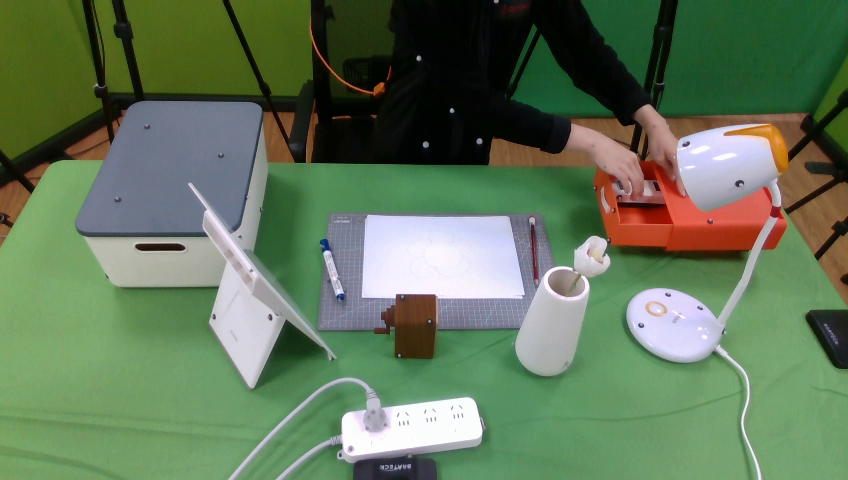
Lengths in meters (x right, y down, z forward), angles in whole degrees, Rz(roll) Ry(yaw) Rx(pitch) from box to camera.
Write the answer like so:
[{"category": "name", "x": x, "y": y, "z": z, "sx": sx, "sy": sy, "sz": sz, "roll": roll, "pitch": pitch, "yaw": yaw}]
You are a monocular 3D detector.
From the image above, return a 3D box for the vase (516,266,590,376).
[{"category": "vase", "x": 0.208, "y": 0.132, "z": 0.964, "sx": 0.098, "sy": 0.201, "sz": 0.097, "roll": 3, "pitch": 46, "yaw": -3}]

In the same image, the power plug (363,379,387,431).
[{"category": "power plug", "x": -0.072, "y": 0.252, "z": 0.910, "sx": 0.035, "sy": 0.053, "sz": 0.072, "roll": 3, "pitch": 45, "yaw": -1}]

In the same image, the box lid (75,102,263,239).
[{"category": "box lid", "x": -0.443, "y": -0.138, "z": 1.094, "sx": 0.263, "sy": 0.015, "sz": 0.369, "roll": -1, "pitch": 47, "yaw": -5}]

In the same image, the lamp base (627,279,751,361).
[{"category": "lamp base", "x": 0.459, "y": 0.100, "z": 1.027, "sx": 0.178, "sy": 0.181, "sz": 0.160, "roll": 27, "pitch": 51, "yaw": 17}]

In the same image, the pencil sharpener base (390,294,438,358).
[{"category": "pencil sharpener base", "x": -0.018, "y": 0.143, "z": 1.000, "sx": 0.077, "sy": 0.107, "sz": 0.061, "roll": 1, "pitch": 46, "yaw": -2}]

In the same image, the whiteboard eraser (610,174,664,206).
[{"category": "whiteboard eraser", "x": 0.435, "y": -0.101, "z": 1.238, "sx": 0.113, "sy": 0.042, "sz": 0.055, "roll": 5, "pitch": 55, "yaw": -9}]

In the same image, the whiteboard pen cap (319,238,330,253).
[{"category": "whiteboard pen cap", "x": -0.191, "y": 0.013, "z": 1.163, "sx": 0.018, "sy": 0.018, "sz": 0.033, "roll": -13, "pitch": 49, "yaw": -16}]

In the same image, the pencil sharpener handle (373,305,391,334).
[{"category": "pencil sharpener handle", "x": -0.069, "y": 0.133, "z": 0.989, "sx": 0.030, "sy": 0.068, "sz": 0.036, "roll": 1, "pitch": 47, "yaw": -2}]

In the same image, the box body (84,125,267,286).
[{"category": "box body", "x": -0.446, "y": -0.088, "z": 1.150, "sx": 0.254, "sy": 0.161, "sz": 0.361, "roll": -1, "pitch": 46, "yaw": -5}]

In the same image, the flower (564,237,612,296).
[{"category": "flower", "x": 0.206, "y": 0.088, "z": 0.893, "sx": 0.038, "sy": 0.363, "sz": 0.044, "roll": -17, "pitch": 67, "yaw": -9}]

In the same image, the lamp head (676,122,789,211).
[{"category": "lamp head", "x": 0.423, "y": -0.104, "z": 0.819, "sx": 0.122, "sy": 0.113, "sz": 0.112, "roll": -13, "pitch": 33, "yaw": 40}]

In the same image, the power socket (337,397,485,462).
[{"category": "power socket", "x": -0.018, "y": 0.285, "z": 0.915, "sx": 0.227, "sy": 0.033, "sz": 0.071, "roll": -5, "pitch": 46, "yaw": -8}]

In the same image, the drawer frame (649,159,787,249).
[{"category": "drawer frame", "x": 0.566, "y": -0.075, "z": 1.209, "sx": 0.213, "sy": 0.083, "sz": 0.200, "roll": 0, "pitch": 45, "yaw": 2}]

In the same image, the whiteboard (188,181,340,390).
[{"category": "whiteboard", "x": -0.292, "y": 0.096, "z": 0.929, "sx": 0.144, "sy": 0.307, "sz": 0.216, "roll": -38, "pitch": 57, "yaw": -10}]

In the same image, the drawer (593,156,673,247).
[{"category": "drawer", "x": 0.460, "y": -0.077, "z": 1.208, "sx": 0.212, "sy": 0.073, "sz": 0.193, "roll": 3, "pitch": 46, "yaw": -2}]

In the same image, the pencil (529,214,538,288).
[{"category": "pencil", "x": 0.219, "y": 0.019, "z": 1.202, "sx": 0.012, "sy": 0.012, "sz": 0.193, "roll": 5, "pitch": 48, "yaw": 1}]

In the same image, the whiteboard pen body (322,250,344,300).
[{"category": "whiteboard pen body", "x": -0.173, "y": 0.056, "z": 1.127, "sx": 0.017, "sy": 0.017, "sz": 0.140, "roll": -12, "pitch": 49, "yaw": -16}]
